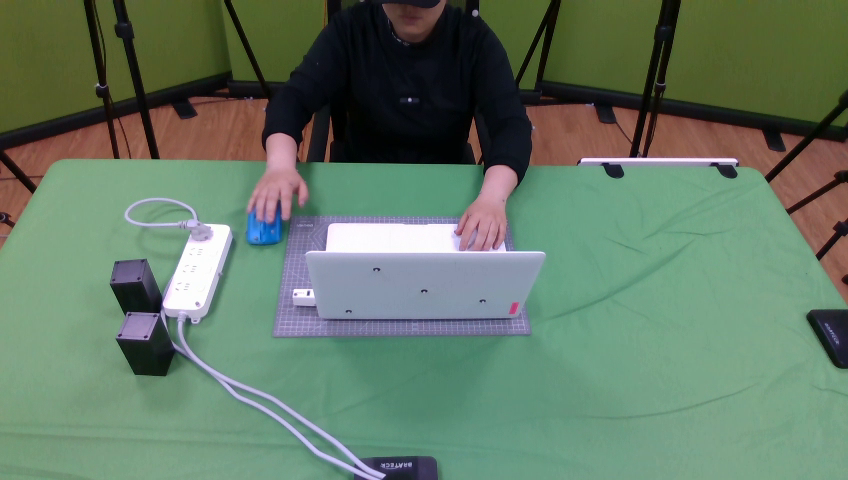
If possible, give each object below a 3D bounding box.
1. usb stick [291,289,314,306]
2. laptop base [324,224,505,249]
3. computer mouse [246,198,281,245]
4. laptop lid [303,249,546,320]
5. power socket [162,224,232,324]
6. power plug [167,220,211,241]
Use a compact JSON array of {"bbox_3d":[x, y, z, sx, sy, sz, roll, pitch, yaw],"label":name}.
[{"bbox_3d":[-0.203,0.102,1.066,0.059,0.027,0.021,4,45,-5],"label":"usb stick"},{"bbox_3d":[-0.014,0.055,1.144,0.355,0.023,0.234,0,42,-4],"label":"laptop base"},{"bbox_3d":[-0.317,-0.040,1.201,0.063,0.041,0.116,0,50,-8],"label":"computer mouse"},{"bbox_3d":[-0.002,0.077,0.962,0.357,0.242,0.013,1,58,-5],"label":"laptop lid"},{"bbox_3d":[-0.411,0.052,1.106,0.072,0.033,0.225,4,46,-1],"label":"power socket"},{"bbox_3d":[-0.438,-0.017,1.143,0.072,0.053,0.035,10,43,7],"label":"power plug"}]
